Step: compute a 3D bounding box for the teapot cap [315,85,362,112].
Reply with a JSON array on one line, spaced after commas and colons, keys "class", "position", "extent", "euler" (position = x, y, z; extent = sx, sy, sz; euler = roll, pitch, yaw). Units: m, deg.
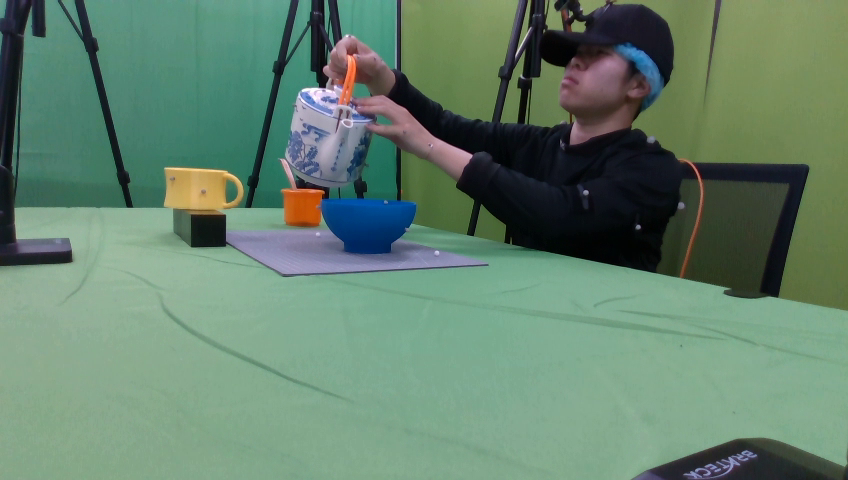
[{"class": "teapot cap", "position": [-0.150, -0.249, 1.073], "extent": [0.085, 0.044, 0.085], "euler": [18, 29, -10]}]

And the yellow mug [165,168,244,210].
[{"class": "yellow mug", "position": [-0.370, -0.086, 1.027], "extent": [0.131, 0.064, 0.100], "euler": [5, 7, 4]}]

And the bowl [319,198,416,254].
[{"class": "bowl", "position": [-0.089, -0.022, 0.941], "extent": [0.151, 0.077, 0.151], "euler": [2, 7, 0]}]

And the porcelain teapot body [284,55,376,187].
[{"class": "porcelain teapot body", "position": [-0.155, -0.203, 1.070], "extent": [0.146, 0.225, 0.204], "euler": [8, 31, -23]}]

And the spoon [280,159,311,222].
[{"class": "spoon", "position": [-0.285, -0.111, 1.320], "extent": [0.042, 0.193, 0.021], "euler": [-2, -36, -31]}]
